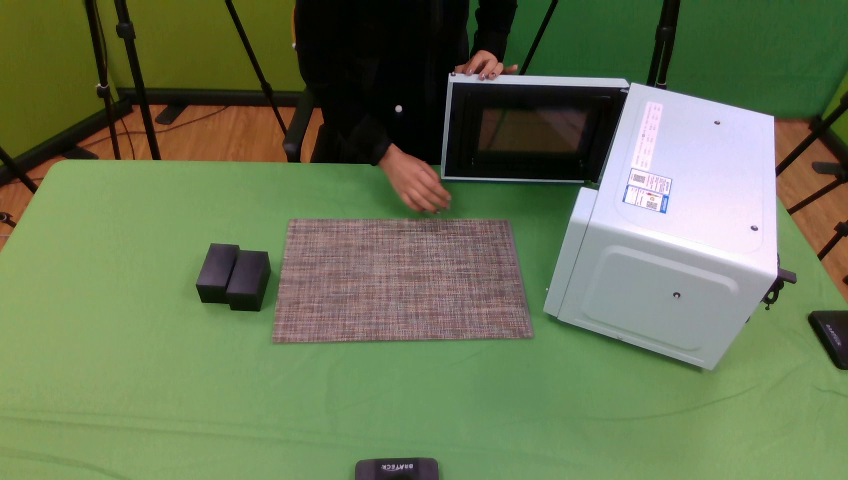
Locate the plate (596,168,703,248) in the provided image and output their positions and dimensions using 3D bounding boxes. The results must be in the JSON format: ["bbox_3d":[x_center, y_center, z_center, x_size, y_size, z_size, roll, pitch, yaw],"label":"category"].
[{"bbox_3d":[0.432,-0.059,1.178,0.209,0.038,0.208,6,47,-7],"label":"plate"}]

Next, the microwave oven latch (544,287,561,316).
[{"bbox_3d":[0.237,0.098,1.087,0.030,0.029,0.079,17,47,13],"label":"microwave oven latch"}]

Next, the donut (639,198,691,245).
[{"bbox_3d":[0.460,-0.035,1.159,0.099,0.048,0.098,3,62,-5],"label":"donut"}]

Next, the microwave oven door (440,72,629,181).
[{"bbox_3d":[0.218,-0.230,1.258,0.356,0.245,0.039,1,46,-3],"label":"microwave oven door"}]

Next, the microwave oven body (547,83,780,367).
[{"bbox_3d":[0.445,-0.041,1.101,0.325,0.261,0.440,17,47,13],"label":"microwave oven body"}]
